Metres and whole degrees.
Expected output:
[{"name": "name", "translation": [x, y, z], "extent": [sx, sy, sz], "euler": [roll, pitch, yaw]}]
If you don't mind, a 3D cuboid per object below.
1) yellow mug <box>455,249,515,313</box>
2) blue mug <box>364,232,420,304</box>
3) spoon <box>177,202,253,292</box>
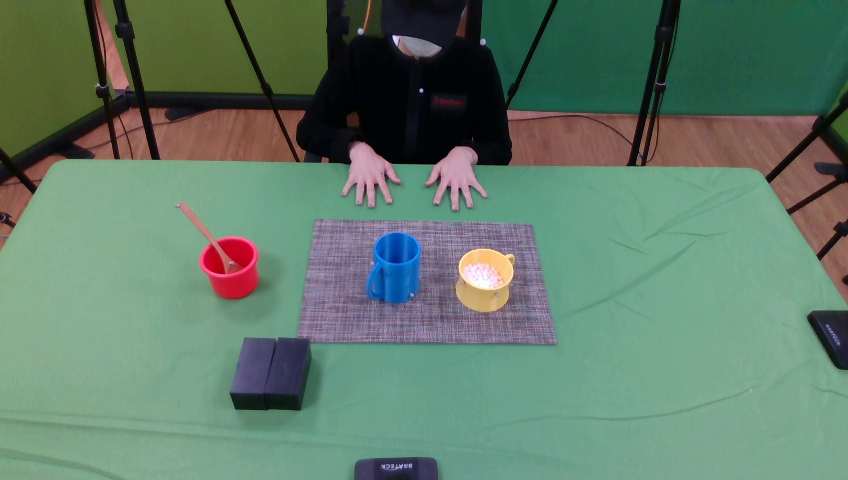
[{"name": "yellow mug", "translation": [0.120, 0.066, 1.108], "extent": [0.131, 0.064, 0.099], "euler": [-31, 55, -31]}, {"name": "blue mug", "translation": [-0.062, 0.059, 1.074], "extent": [0.082, 0.106, 0.116], "euler": [35, 53, 27]}, {"name": "spoon", "translation": [-0.371, 0.012, 1.074], "extent": [0.041, 0.021, 0.194], "euler": [-41, 105, -32]}]
